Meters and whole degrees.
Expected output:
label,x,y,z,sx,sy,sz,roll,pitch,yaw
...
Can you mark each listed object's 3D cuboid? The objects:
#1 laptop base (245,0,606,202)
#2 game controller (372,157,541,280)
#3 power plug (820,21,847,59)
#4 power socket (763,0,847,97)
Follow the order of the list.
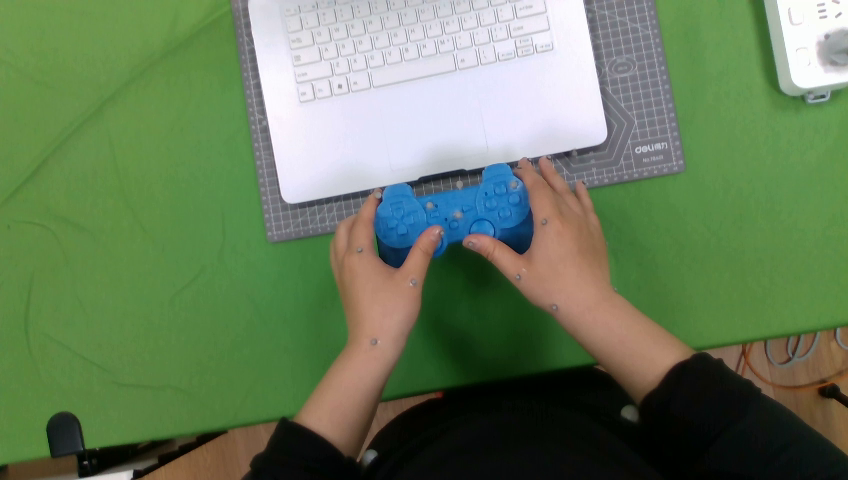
label,x,y,z,sx,sy,sz,roll,pitch,yaw
laptop base,-0.004,-0.188,0.647,0.354,0.023,0.235,-11,90,5
game controller,0.027,-0.018,0.557,0.155,0.051,0.097,-11,97,5
power plug,0.417,-0.191,0.578,0.072,0.053,0.035,2,88,2
power socket,0.378,-0.259,0.603,0.072,0.032,0.226,-9,87,6
